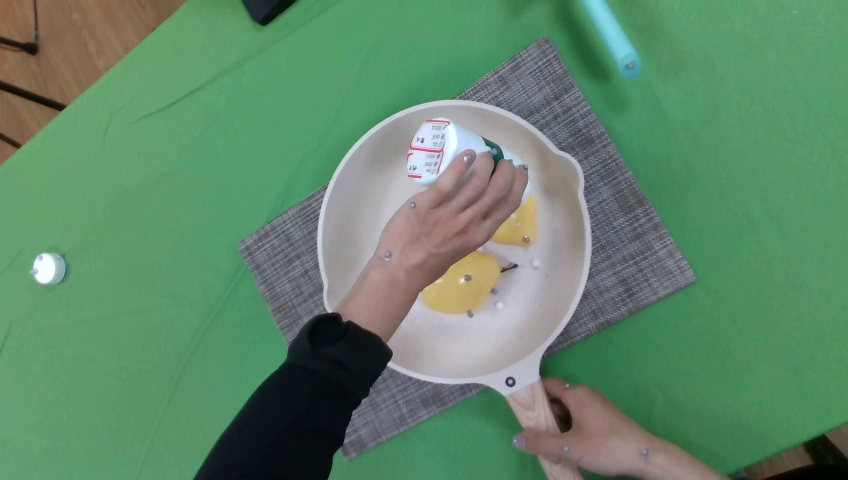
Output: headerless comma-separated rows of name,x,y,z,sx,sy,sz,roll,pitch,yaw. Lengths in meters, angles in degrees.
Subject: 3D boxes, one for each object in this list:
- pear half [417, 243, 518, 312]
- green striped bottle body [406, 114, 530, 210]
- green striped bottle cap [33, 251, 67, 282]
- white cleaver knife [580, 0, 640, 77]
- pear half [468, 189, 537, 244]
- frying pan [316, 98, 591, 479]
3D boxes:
pear half,0.046,0.038,0.651,0.109,0.056,0.076,-18,91,14
green striped bottle body,0.047,-0.067,0.562,0.063,0.120,0.063,-20,62,44
green striped bottle cap,-0.527,0.038,0.854,0.044,0.020,0.044,0,91,18
white cleaver knife,0.145,-0.289,0.614,0.021,0.066,0.285,-29,80,21
pear half,0.085,-0.032,0.651,0.070,0.031,0.087,-47,73,15
frying pan,0.071,0.091,0.620,0.307,0.103,0.484,-29,74,17
